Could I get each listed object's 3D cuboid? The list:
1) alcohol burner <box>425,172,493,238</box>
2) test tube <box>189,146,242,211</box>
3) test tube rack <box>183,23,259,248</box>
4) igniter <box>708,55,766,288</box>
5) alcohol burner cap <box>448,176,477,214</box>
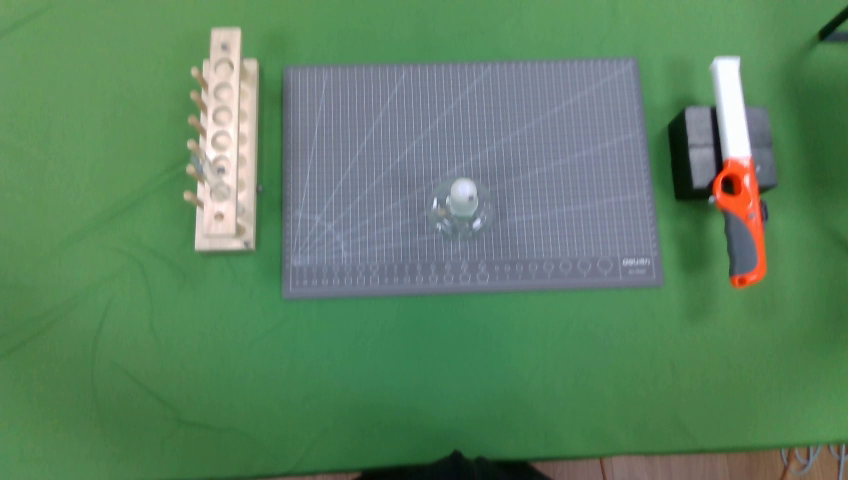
[{"bbox_3d":[0.040,-0.042,0.675,0.078,0.119,0.077,0,80,0],"label":"alcohol burner"},{"bbox_3d":[-0.216,-0.060,0.638,0.017,0.151,0.017,1,73,-3],"label":"test tube"},{"bbox_3d":[-0.237,-0.118,0.699,0.067,0.085,0.241,-1,79,-1],"label":"test tube rack"},{"bbox_3d":[0.353,-0.082,0.691,0.057,0.025,0.275,0,77,2],"label":"igniter"},{"bbox_3d":[0.041,-0.051,0.640,0.034,0.048,0.033,0,74,2],"label":"alcohol burner cap"}]
